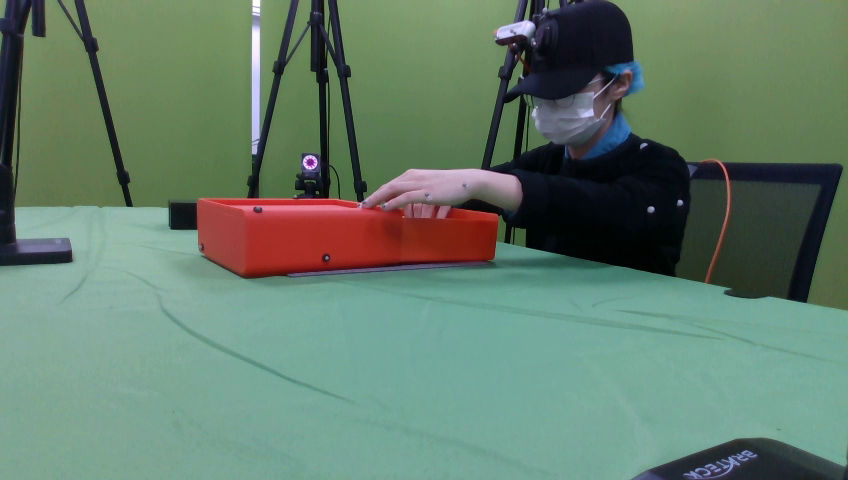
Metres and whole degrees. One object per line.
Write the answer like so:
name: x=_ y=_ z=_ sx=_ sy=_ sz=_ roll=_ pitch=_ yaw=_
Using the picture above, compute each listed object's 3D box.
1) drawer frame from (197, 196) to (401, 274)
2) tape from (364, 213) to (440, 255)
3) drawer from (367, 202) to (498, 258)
drawer frame: x=-0.171 y=-0.015 z=0.819 sx=0.215 sy=0.082 sz=0.200 roll=-4 pitch=10 yaw=-35
tape: x=-0.033 y=-0.011 z=0.912 sx=0.117 sy=0.052 sz=0.117 roll=4 pitch=6 yaw=0
drawer: x=-0.029 y=-0.019 z=0.917 sx=0.213 sy=0.073 sz=0.193 roll=-1 pitch=8 yaw=-34
